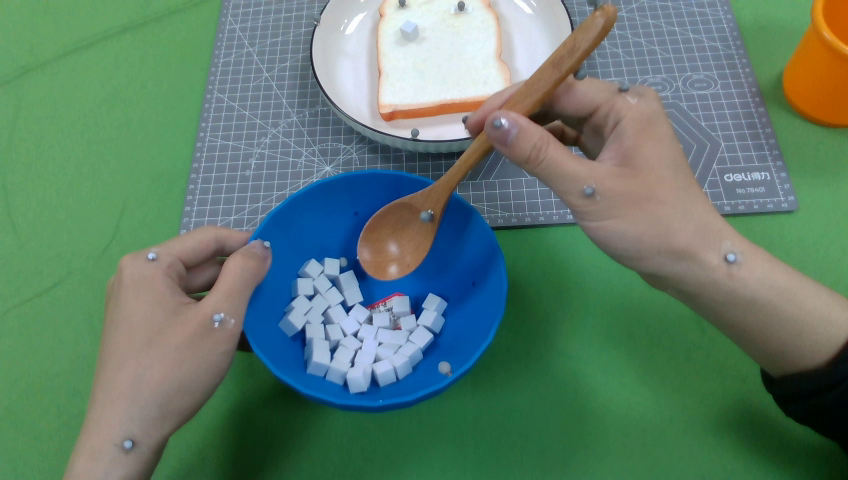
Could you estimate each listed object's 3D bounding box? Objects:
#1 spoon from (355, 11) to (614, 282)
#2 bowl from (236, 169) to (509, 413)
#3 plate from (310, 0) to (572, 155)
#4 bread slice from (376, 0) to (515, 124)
[{"bbox_3d":[0.024,-0.039,0.314,0.041,0.194,0.021,51,37,8],"label":"spoon"},{"bbox_3d":[-0.029,0.039,0.367,0.151,0.077,0.150,1,58,-2],"label":"bowl"},{"bbox_3d":[0.013,-0.151,0.494,0.209,0.038,0.207,-2,63,4],"label":"plate"},{"bbox_3d":[0.010,-0.155,0.499,0.107,0.018,0.133,-10,64,1],"label":"bread slice"}]
